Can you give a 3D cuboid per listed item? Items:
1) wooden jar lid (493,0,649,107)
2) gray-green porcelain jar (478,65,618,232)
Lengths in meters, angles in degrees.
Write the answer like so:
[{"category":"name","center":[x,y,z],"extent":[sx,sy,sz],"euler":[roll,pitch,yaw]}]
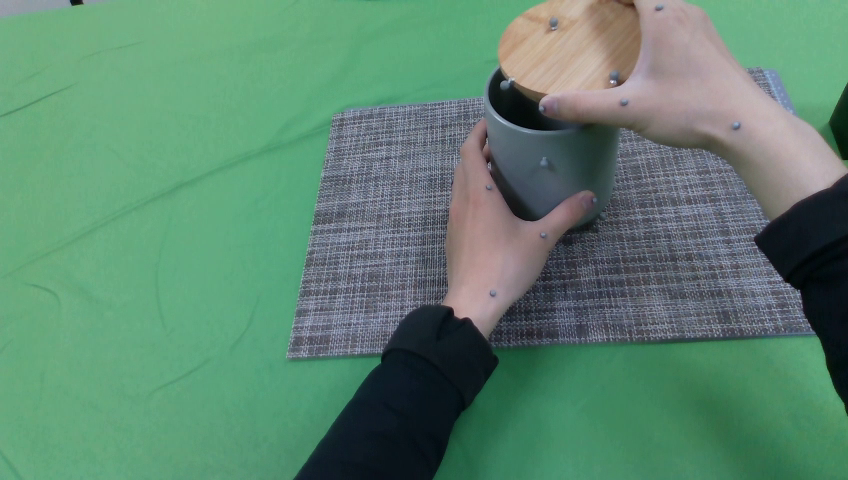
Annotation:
[{"category":"wooden jar lid","center":[0.104,-0.134,0.434],"extent":[0.108,0.021,0.107],"euler":[-7,56,10]},{"category":"gray-green porcelain jar","center":[0.103,-0.077,0.504],"extent":[0.106,0.128,0.105],"euler":[-5,52,7]}]
